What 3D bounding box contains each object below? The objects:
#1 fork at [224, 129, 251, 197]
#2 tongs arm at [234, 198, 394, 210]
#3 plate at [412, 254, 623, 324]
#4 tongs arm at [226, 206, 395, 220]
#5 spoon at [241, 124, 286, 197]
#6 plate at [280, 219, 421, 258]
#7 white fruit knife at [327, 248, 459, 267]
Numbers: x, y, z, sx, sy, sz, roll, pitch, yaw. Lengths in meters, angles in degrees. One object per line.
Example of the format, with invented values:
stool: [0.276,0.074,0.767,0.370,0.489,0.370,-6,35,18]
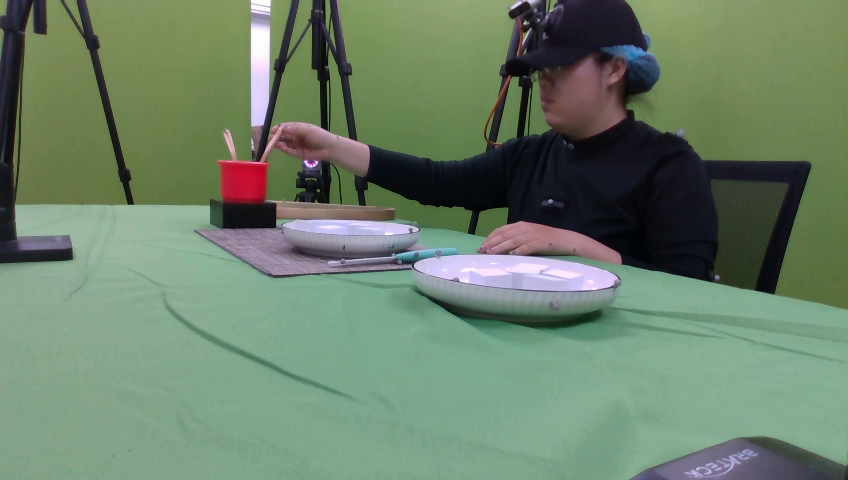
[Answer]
fork: [-0.371,-0.154,1.191,0.028,0.018,0.206,-16,55,-14]
tongs arm: [-0.263,-0.076,1.460,0.386,0.026,0.050,3,8,-8]
plate: [0.091,0.047,0.609,0.209,0.038,0.209,2,7,0]
tongs arm: [-0.247,-0.061,1.381,0.389,0.028,0.028,0,6,-21]
spoon: [-0.313,-0.159,1.189,0.041,0.193,0.022,9,-28,19]
plate: [-0.108,-0.002,0.902,0.208,0.039,0.207,3,7,0]
white fruit knife: [-0.034,0.025,0.807,0.208,0.016,0.027,-4,-18,-34]
